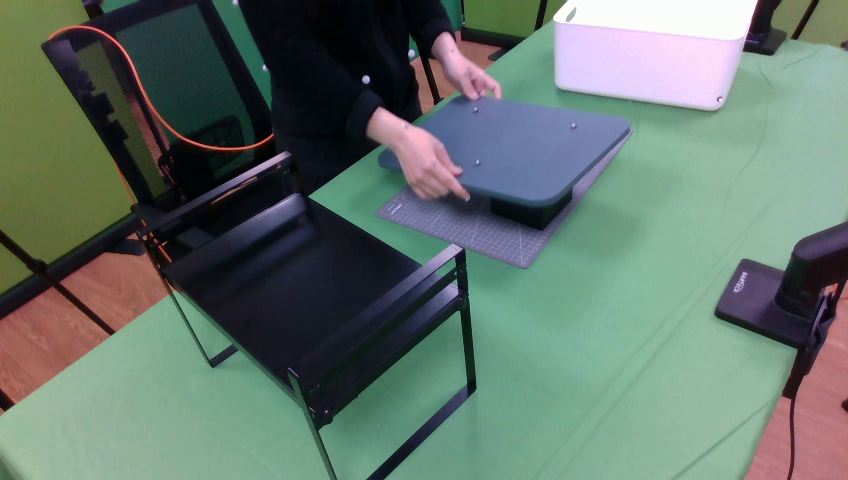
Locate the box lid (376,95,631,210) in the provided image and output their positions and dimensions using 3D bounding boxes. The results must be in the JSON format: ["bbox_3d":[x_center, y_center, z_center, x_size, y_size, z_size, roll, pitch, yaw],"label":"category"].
[{"bbox_3d":[0.121,-0.161,1.012,0.368,0.015,0.264,20,48,38],"label":"box lid"}]

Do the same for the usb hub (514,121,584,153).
[{"bbox_3d":[0.240,-0.200,1.165,0.124,0.025,0.049,16,47,26],"label":"usb hub"}]

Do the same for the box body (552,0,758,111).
[{"bbox_3d":[0.480,-0.417,1.282,0.362,0.161,0.254,16,46,25],"label":"box body"}]
